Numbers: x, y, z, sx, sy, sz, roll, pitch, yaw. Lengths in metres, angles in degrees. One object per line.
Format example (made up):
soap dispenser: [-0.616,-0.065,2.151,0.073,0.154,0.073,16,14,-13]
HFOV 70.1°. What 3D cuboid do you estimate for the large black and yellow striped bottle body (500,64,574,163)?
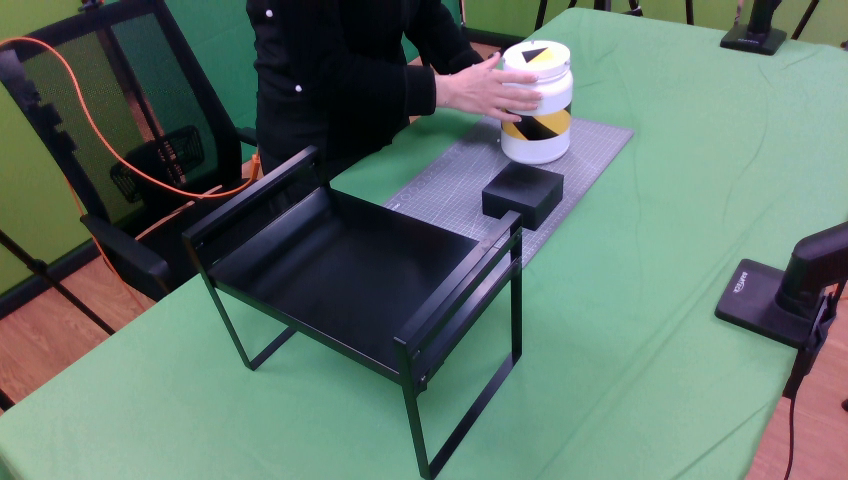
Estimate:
large black and yellow striped bottle body: [0.206,-0.250,1.106,0.131,0.185,0.130,-4,40,4]

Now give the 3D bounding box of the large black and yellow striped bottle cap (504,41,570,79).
large black and yellow striped bottle cap: [0.196,-0.315,1.051,0.115,0.019,0.114,-4,42,4]
